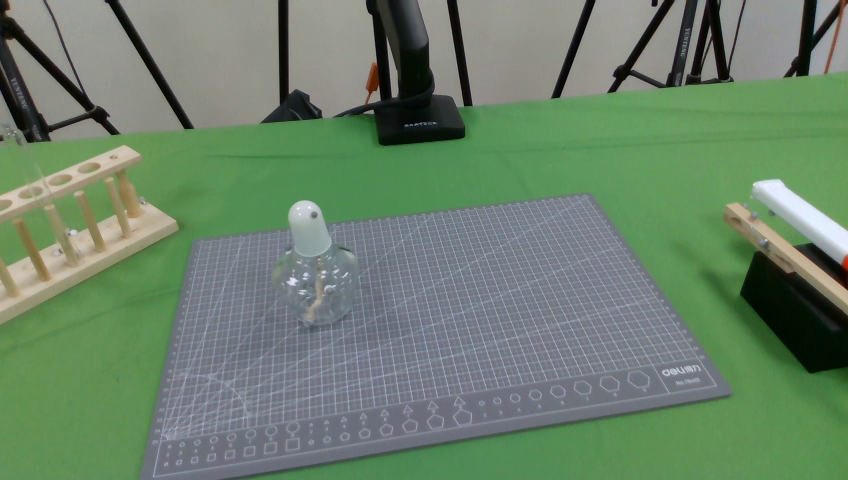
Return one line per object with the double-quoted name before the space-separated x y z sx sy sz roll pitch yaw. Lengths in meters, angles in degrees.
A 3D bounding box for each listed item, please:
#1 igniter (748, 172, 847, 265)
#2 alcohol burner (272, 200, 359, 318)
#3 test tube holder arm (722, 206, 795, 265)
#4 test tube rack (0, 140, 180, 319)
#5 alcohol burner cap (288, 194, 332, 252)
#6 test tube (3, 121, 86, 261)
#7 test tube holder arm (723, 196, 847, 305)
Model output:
"igniter" 0.368 0.016 0.505 0.057 0.025 0.273 -9 36 -7
"alcohol burner" -0.097 0.011 0.531 0.078 0.120 0.077 0 39 0
"test tube holder arm" 0.303 -0.007 0.546 0.015 0.010 0.087 -17 37 -8
"test tube rack" -0.374 -0.005 0.591 0.066 0.086 0.242 27 46 31
"alcohol burner cap" -0.098 -0.017 0.509 0.034 0.048 0.033 -2 43 2
"test tube" -0.350 -0.041 0.562 0.017 0.151 0.017 -1 39 1
"test tube holder arm" 0.315 0.013 0.508 0.015 0.013 0.176 -17 38 -8
